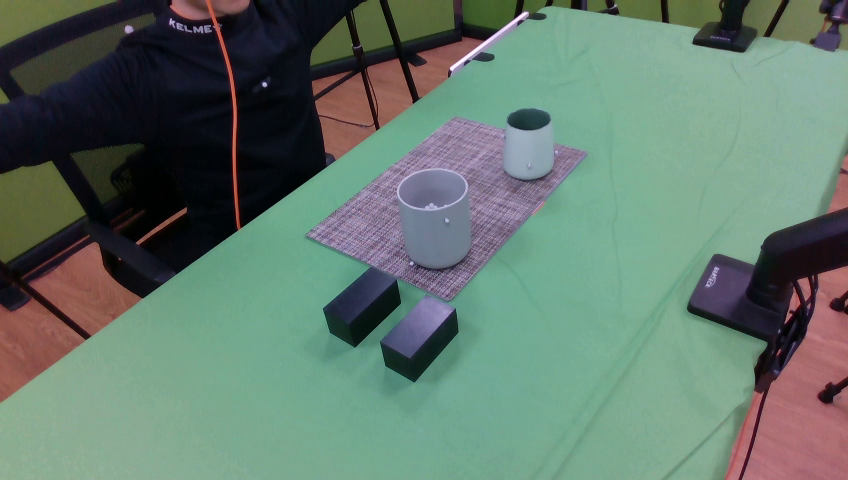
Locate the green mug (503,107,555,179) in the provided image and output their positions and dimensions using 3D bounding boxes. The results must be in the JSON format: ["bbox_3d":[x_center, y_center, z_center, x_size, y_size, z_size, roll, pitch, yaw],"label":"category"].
[{"bbox_3d":[0.181,-0.180,1.083,0.093,0.105,0.124,-13,41,-6],"label":"green mug"}]

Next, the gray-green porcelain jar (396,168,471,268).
[{"bbox_3d":[0.017,-0.029,0.913,0.106,0.127,0.105,-3,41,3],"label":"gray-green porcelain jar"}]
